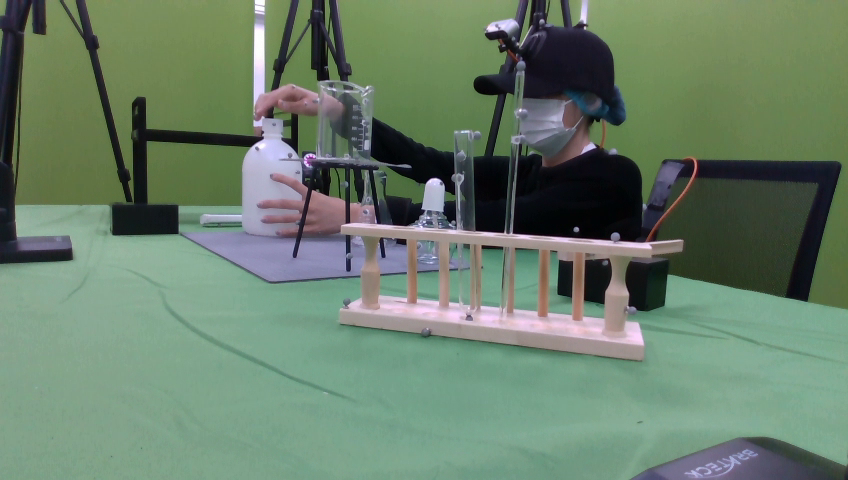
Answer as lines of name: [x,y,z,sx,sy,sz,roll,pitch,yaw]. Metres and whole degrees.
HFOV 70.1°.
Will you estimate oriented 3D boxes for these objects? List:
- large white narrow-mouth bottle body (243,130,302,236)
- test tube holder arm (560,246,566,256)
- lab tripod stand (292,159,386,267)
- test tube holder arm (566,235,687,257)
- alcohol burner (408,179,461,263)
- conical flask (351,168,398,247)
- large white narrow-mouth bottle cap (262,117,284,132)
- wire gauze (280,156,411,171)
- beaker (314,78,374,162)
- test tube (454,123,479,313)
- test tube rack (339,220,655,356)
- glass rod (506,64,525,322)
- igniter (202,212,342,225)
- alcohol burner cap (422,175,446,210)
large white narrow-mouth bottle body: [-0.265,-0.109,1.061,0.102,0.194,0.102,2,8,0]
test tube holder arm: [0.173,0.007,0.611,0.088,0.015,0.010,-3,9,-30]
lab tripod stand: [-0.105,-0.039,0.797,0.148,0.131,0.148,2,5,0]
test tube holder arm: [0.215,0.006,0.629,0.179,0.015,0.013,-3,9,-30]
alcohol burner: [0.014,-0.029,0.834,0.078,0.119,0.078,0,6,0]
conical flask: [-0.078,-0.053,0.962,0.075,0.122,0.075,2,7,0]
large white narrow-mouth bottle cap: [-0.262,-0.199,1.047,0.038,0.024,0.037,2,8,0]
wire gauze: [-0.103,-0.103,0.785,0.121,0.011,0.126,11,8,42]
beaker: [-0.101,-0.151,0.774,0.074,0.100,0.083,-2,8,-39]
test tube: [0.034,-0.016,0.477,0.017,0.150,0.017,-2,9,1]
test tube rack: [0.056,0.032,0.495,0.242,0.085,0.067,4,7,15]
glass rod: [0.069,-0.030,0.458,0.008,0.199,0.008,0,15,0]
igniter: [-0.298,-0.043,1.216,0.278,0.025,0.057,-3,-2,-32]
alcohol burner cap: [0.016,-0.065,0.830,0.034,0.048,0.034,7,4,0]
